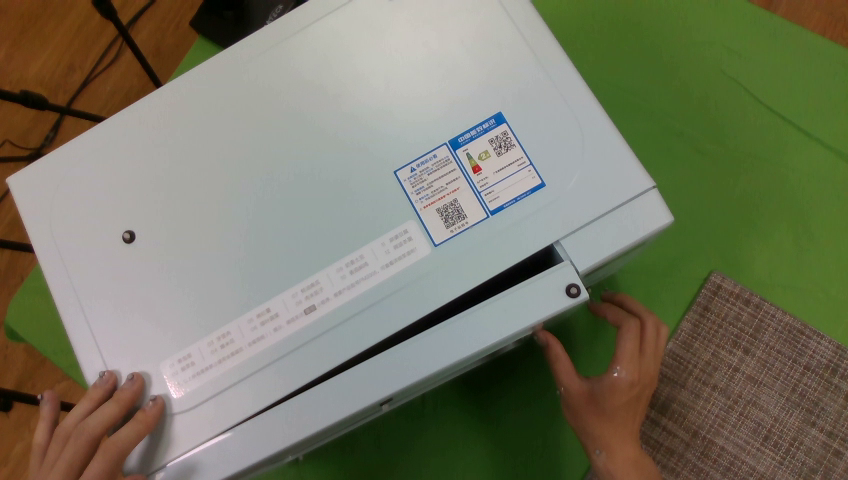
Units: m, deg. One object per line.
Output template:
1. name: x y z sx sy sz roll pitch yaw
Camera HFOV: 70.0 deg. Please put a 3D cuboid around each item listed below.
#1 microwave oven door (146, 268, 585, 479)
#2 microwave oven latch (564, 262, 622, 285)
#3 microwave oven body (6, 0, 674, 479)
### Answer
1. microwave oven door: -0.034 0.128 0.539 0.356 0.245 0.039 -27 76 2
2. microwave oven latch: 0.167 0.032 0.635 0.079 0.029 0.030 -28 77 2
3. microwave oven body: -0.071 -0.023 0.577 0.442 0.261 0.324 -30 77 2
